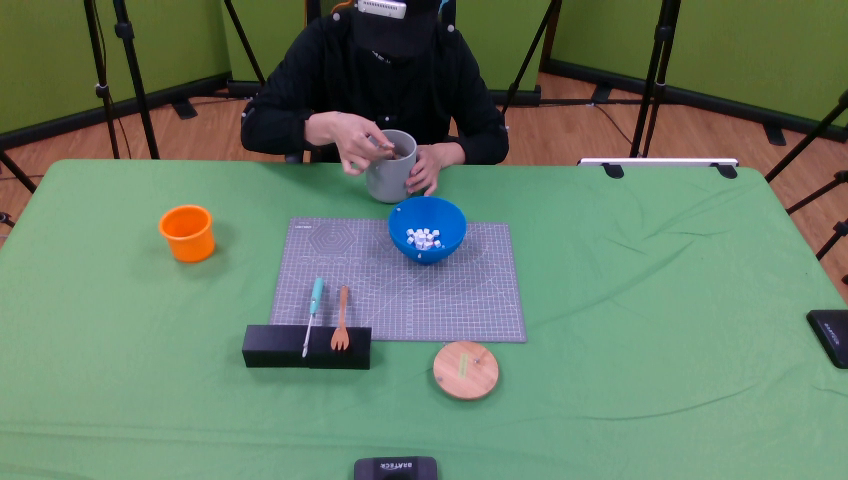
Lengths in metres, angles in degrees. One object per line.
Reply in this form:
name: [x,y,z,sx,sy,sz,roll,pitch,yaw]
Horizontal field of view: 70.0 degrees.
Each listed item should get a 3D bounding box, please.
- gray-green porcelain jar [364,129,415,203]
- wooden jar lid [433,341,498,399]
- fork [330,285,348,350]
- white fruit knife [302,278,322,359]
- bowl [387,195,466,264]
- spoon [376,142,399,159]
gray-green porcelain jar: [-0.072,-0.149,1.264,0.106,0.127,0.105,2,46,-2]
wooden jar lid: [0.067,0.216,0.997,0.108,0.021,0.107,1,46,-1]
fork: [-0.140,0.127,1.021,0.028,0.019,0.206,-5,28,-2]
white fruit knife: [-0.189,0.126,1.020,0.016,0.027,0.206,0,33,-2]
bowl: [0.003,-0.007,1.162,0.151,0.077,0.150,2,46,-2]
spoon: [-0.071,-0.174,1.203,0.041,0.194,0.021,26,88,9]
